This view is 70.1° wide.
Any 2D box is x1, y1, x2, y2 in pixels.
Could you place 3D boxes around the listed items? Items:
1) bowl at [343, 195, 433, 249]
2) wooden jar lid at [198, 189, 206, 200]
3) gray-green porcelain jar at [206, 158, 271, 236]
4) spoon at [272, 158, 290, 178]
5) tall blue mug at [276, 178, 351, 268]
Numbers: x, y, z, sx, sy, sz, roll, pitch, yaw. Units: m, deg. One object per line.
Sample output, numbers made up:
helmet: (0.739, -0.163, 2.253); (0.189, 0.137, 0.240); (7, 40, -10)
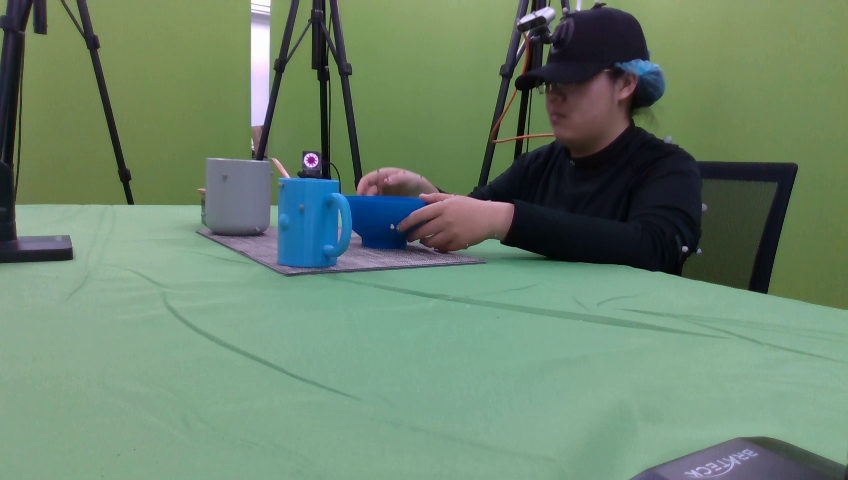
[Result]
bowl: (-0.063, -0.030, 0.971); (0.151, 0.077, 0.151); (3, 7, 0)
wooden jar lid: (-0.382, -0.088, 1.175); (0.108, 0.020, 0.108); (3, 8, 0)
gray-green porcelain jar: (-0.316, -0.074, 1.031); (0.106, 0.126, 0.106); (3, 7, 0)
spoon: (-0.268, -0.103, 1.236); (0.042, 0.193, 0.021); (-10, -32, -39)
tall blue mug: (-0.133, -0.022, 0.766); (0.107, 0.108, 0.078); (4, 7, 12)
